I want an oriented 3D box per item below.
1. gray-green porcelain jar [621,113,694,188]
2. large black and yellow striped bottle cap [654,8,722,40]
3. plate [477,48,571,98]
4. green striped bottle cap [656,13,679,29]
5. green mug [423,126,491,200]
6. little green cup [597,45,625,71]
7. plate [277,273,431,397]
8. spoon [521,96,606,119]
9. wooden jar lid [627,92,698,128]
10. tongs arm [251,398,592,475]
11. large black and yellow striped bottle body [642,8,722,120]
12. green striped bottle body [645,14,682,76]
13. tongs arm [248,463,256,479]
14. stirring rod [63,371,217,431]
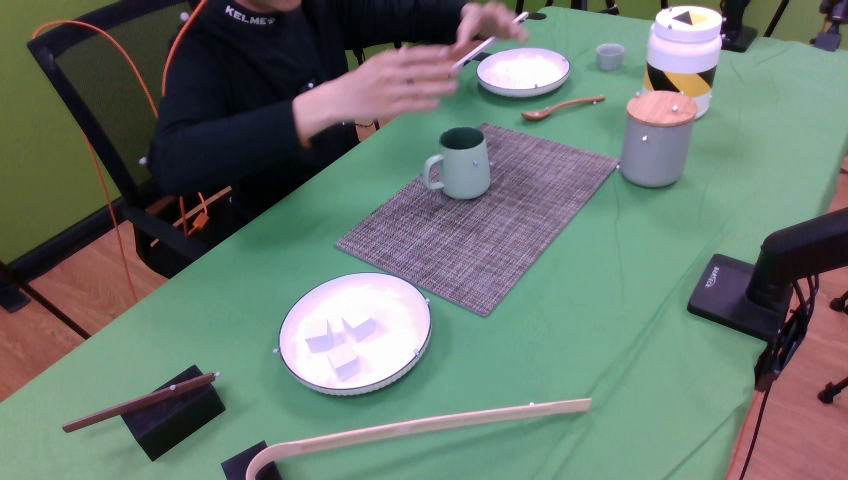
[{"bbox_3d":[0.390,-0.161,1.020,0.106,0.127,0.105,-4,41,4],"label":"gray-green porcelain jar"},{"bbox_3d":[0.483,-0.397,1.108,0.115,0.019,0.114,-3,41,3],"label":"large black and yellow striped bottle cap"},{"bbox_3d":[0.223,-0.371,1.357,0.209,0.038,0.208,-4,41,4],"label":"plate"},{"bbox_3d":[0.515,-0.463,1.278,0.044,0.020,0.044,-6,42,6],"label":"green striped bottle cap"},{"bbox_3d":[0.055,-0.125,1.040,0.126,0.105,0.091,-25,44,-19],"label":"green mug"},{"bbox_3d":[0.423,-0.413,1.375,0.061,0.039,0.061,-4,41,4],"label":"little green cup"},{"bbox_3d":[-0.091,0.129,0.821,0.207,0.039,0.206,-4,40,4],"label":"plate"},{"bbox_3d":[0.291,-0.277,1.249,0.194,0.022,0.041,-17,24,-11],"label":"spoon"},{"bbox_3d":[0.384,-0.207,0.980,0.108,0.021,0.108,-6,39,5],"label":"wooden jar lid"},{"bbox_3d":[0.008,0.213,0.675,0.389,0.028,0.028,-5,45,-11],"label":"tongs arm"},{"bbox_3d":[0.493,-0.334,1.161,0.131,0.185,0.130,-4,41,4],"label":"large black and yellow striped bottle body"},{"bbox_3d":[0.520,-0.424,1.312,0.063,0.120,0.063,-4,41,4],"label":"green striped bottle body"},{"bbox_3d":[0.012,0.263,0.615,0.385,0.026,0.050,2,41,-2],"label":"tongs arm"},{"bbox_3d":[-0.337,0.192,0.723,0.177,0.014,0.005,-18,43,-12],"label":"stirring rod"}]
